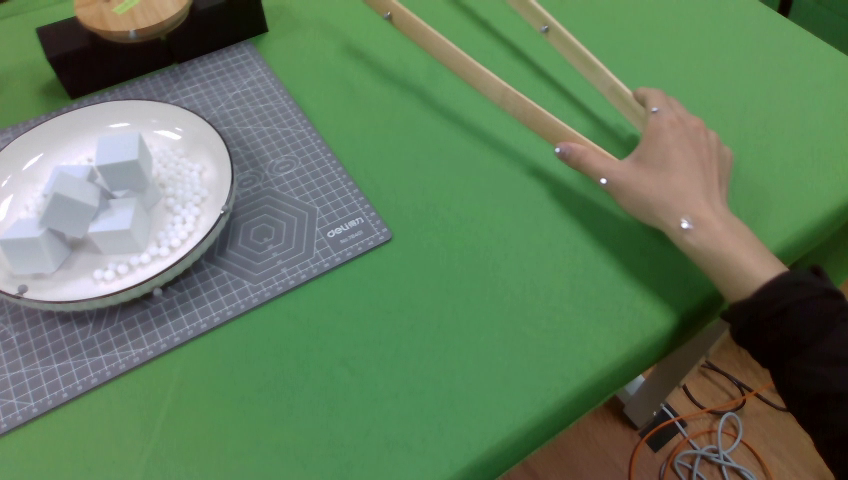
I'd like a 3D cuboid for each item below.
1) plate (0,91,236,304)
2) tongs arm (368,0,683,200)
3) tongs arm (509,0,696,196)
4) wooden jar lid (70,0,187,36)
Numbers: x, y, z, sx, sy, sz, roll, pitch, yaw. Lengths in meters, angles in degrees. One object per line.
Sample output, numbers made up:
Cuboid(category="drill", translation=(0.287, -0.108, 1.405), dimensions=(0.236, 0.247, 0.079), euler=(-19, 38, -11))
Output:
Cuboid(category="plate", translation=(-0.256, -0.036, 0.491), dimensions=(0.209, 0.038, 0.207), euler=(0, 56, 0))
Cuboid(category="tongs arm", translation=(0.059, -0.154, 0.548), dimensions=(0.385, 0.028, 0.028), euler=(41, 56, 19))
Cuboid(category="tongs arm", translation=(0.119, -0.189, 0.578), dimensions=(0.051, 0.027, 0.381), euler=(-27, 64, -24))
Cuboid(category="wooden jar lid", translation=(-0.275, -0.231, 0.576), dimensions=(0.108, 0.021, 0.107), euler=(1, 57, -1))
